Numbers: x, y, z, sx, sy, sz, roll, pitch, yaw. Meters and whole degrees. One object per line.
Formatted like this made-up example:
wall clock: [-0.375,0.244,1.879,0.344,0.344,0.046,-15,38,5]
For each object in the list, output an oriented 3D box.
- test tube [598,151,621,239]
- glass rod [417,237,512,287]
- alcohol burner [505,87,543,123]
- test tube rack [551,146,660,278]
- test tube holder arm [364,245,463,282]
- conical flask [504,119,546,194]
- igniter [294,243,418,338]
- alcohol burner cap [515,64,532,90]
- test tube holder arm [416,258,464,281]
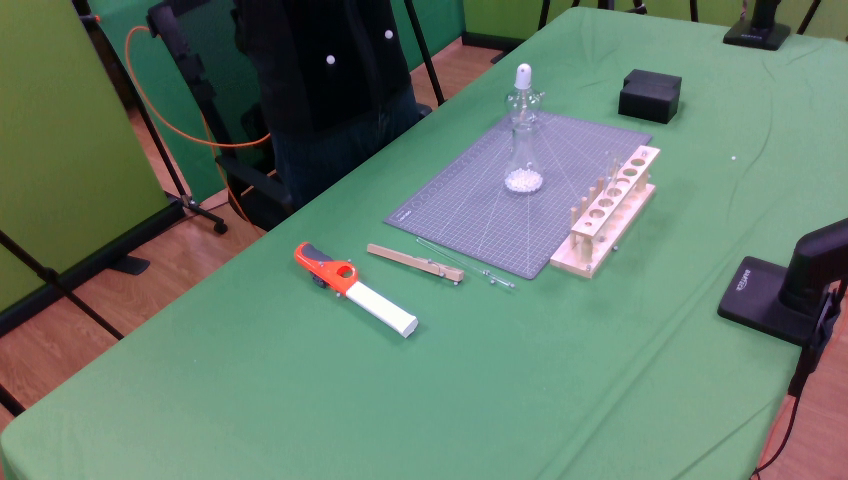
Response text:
test tube: [0.269,-0.062,0.880,0.017,0.151,0.017,-3,39,3]
glass rod: [0.059,0.032,0.945,0.198,0.008,0.008,27,52,38]
alcohol burner: [0.202,-0.298,1.221,0.078,0.119,0.077,-4,40,4]
test tube rack: [0.286,-0.053,0.943,0.066,0.085,0.243,21,49,32]
test tube holder arm: [-0.020,0.035,0.947,0.177,0.015,0.013,16,10,26]
conical flask: [0.173,-0.146,1.041,0.075,0.122,0.075,-6,40,5]
igniter: [-0.114,0.070,0.919,0.274,0.025,0.057,29,63,37]
alcohol burner cap: [0.199,-0.325,1.198,0.034,0.048,0.033,0,46,1]
test tube holder arm: [0.022,0.045,0.931,0.087,0.015,0.010,16,10,28]
